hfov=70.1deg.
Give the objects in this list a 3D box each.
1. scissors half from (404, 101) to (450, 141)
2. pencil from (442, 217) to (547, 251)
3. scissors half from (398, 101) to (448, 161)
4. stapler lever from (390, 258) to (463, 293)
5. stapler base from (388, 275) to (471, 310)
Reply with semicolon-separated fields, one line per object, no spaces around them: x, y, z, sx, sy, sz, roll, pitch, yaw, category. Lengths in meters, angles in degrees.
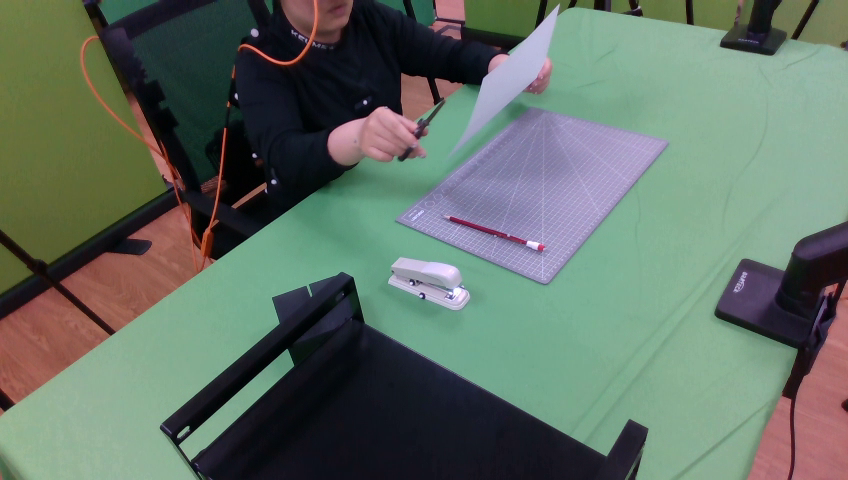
0.005;-0.173;0.878;0.013;0.174;0.040;31;78;-14;scissors half
0.110;-0.012;0.979;0.192;0.012;0.012;18;46;30;pencil
-0.003;-0.156;0.872;0.013;0.174;0.040;25;63;-15;scissors half
0.003;0.046;0.881;0.117;0.040;0.027;17;44;29;stapler lever
0.007;0.066;0.897;0.129;0.024;0.041;17;44;29;stapler base
